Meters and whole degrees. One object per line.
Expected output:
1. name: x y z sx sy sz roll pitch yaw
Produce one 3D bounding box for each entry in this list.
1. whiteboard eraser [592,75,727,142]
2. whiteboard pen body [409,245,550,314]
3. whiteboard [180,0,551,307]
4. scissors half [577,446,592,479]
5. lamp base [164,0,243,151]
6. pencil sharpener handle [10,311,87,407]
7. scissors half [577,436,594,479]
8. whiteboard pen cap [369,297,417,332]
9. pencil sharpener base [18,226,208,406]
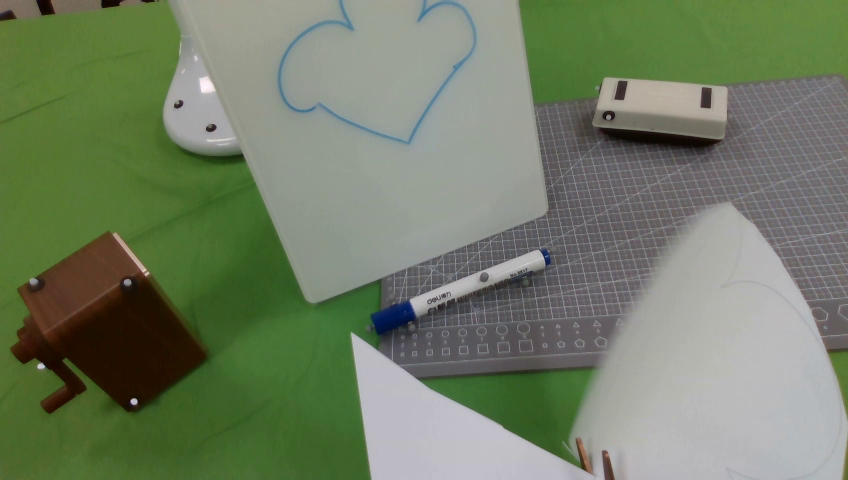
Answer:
1. whiteboard eraser: 0.215 -0.120 0.554 0.112 0.042 0.055 10 53 16
2. whiteboard pen body: 0.031 0.034 0.461 0.141 0.017 0.017 -21 50 -8
3. whiteboard: -0.046 -0.141 0.476 0.217 0.308 0.142 -21 31 -8
4. scissors half: 0.095 0.169 0.272 0.013 0.176 0.040 -16 12 19
5. lamp base: -0.216 -0.206 0.597 0.177 0.182 0.160 29 60 31
6. pencil sharpener handle: -0.250 0.080 0.394 0.030 0.068 0.035 -39 42 -22
7. scissors half: 0.089 0.170 0.251 0.013 0.040 0.174 -16 73 14
8. whiteboard pen cap: -0.023 0.055 0.452 0.033 0.018 0.018 -22 50 -8
9. pencil sharpener base: -0.214 0.057 0.424 0.076 0.108 0.061 -38 56 -22
